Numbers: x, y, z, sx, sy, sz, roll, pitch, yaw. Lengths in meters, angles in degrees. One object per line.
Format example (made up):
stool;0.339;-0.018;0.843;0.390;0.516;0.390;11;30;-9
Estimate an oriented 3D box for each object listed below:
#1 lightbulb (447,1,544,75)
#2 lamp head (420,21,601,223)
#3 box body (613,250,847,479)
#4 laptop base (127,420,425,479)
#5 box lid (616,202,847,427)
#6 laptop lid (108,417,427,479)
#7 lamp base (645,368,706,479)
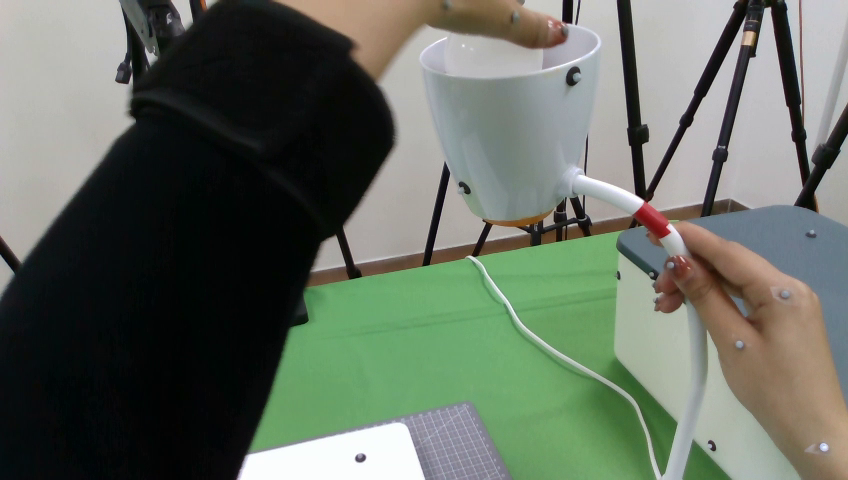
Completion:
lightbulb;0.050;-0.095;0.385;0.059;0.109;0.059;-12;36;9
lamp head;0.062;-0.072;0.401;0.112;0.124;0.111;-10;29;6
box body;0.382;0.119;0.590;0.255;0.161;0.360;-10;28;-15
laptop base;-0.159;0.269;0.492;0.355;0.023;0.233;-9;31;-13
box lid;0.379;0.051;0.558;0.264;0.015;0.367;-9;28;-15
laptop lid;-0.159;0.259;0.484;0.357;0.013;0.239;-8;29;-11
lamp base;0.171;0.193;0.436;0.160;0.181;0.179;10;27;20
